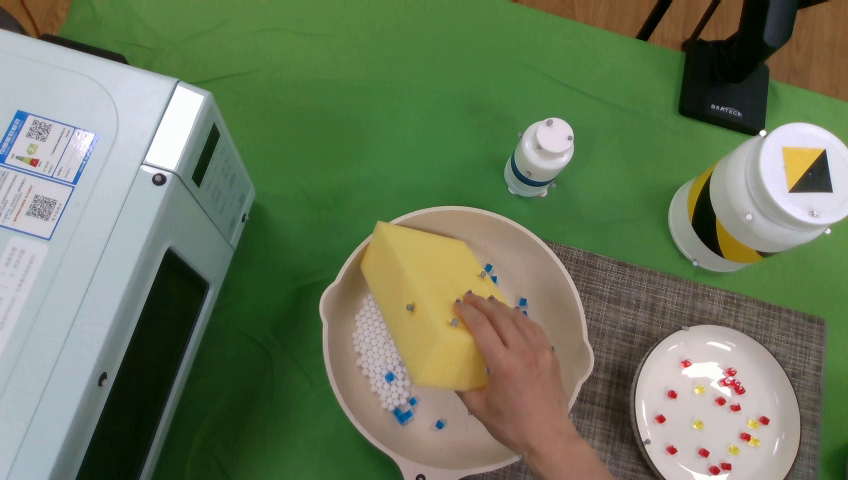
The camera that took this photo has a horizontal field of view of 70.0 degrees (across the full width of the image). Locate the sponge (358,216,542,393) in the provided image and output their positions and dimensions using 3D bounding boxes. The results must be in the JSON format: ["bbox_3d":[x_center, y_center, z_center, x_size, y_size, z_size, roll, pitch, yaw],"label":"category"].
[{"bbox_3d":[0.017,0.062,0.630,0.119,0.204,0.061,13,115,-30],"label":"sponge"}]

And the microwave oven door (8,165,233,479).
[{"bbox_3d":[-0.268,0.134,0.539,0.039,0.244,0.354,16,74,-2],"label":"microwave oven door"}]

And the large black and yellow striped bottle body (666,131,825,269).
[{"bbox_3d":[0.388,-0.048,0.716,0.131,0.184,0.130,2,74,-6],"label":"large black and yellow striped bottle body"}]

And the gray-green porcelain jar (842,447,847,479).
[{"bbox_3d":[0.558,0.269,0.684,0.106,0.127,0.105,2,75,-6],"label":"gray-green porcelain jar"}]

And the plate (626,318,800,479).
[{"bbox_3d":[0.337,0.199,0.717,0.209,0.038,0.208,2,75,-6],"label":"plate"}]

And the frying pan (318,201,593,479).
[{"bbox_3d":[0.010,0.195,0.646,0.307,0.103,0.484,14,66,0],"label":"frying pan"}]

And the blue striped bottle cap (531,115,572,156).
[{"bbox_3d":[0.144,-0.118,0.684,0.044,0.021,0.044,2,72,-5],"label":"blue striped bottle cap"}]

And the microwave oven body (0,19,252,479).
[{"bbox_3d":[-0.397,0.056,0.550,0.326,0.261,0.439,16,75,-3],"label":"microwave oven body"}]

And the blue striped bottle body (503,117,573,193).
[{"bbox_3d":[0.139,-0.105,0.733,0.063,0.121,0.062,2,75,-6],"label":"blue striped bottle body"}]

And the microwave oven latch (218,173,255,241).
[{"bbox_3d":[-0.220,-0.041,0.697,0.030,0.029,0.079,19,75,-2],"label":"microwave oven latch"}]

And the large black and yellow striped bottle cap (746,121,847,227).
[{"bbox_3d":[0.396,-0.070,0.634,0.115,0.019,0.114,2,73,-6],"label":"large black and yellow striped bottle cap"}]
